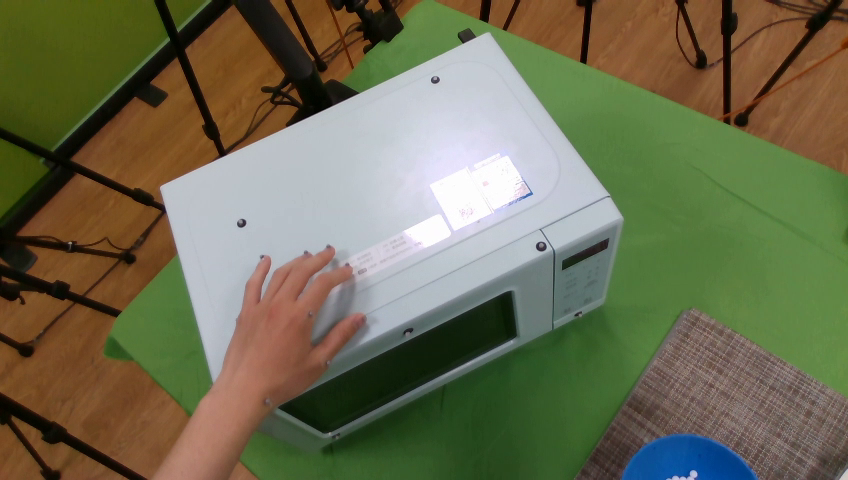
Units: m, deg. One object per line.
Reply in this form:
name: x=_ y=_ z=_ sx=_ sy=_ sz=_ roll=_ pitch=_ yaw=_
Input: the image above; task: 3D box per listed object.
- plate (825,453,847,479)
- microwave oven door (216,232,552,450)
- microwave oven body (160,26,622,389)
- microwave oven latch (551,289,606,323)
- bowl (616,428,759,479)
plate: x=0.518 y=0.313 z=0.625 sx=0.207 sy=0.039 sz=0.206 roll=-4 pitch=63 yaw=9
microwave oven door: x=-0.019 y=0.127 z=0.690 sx=0.356 sy=0.246 sz=0.039 roll=-26 pitch=61 yaw=-3
microwave oven body: x=-0.039 y=-0.002 z=0.766 sx=0.442 sy=0.262 sz=0.322 roll=-27 pitch=62 yaw=-2
microwave oven latch: x=0.197 y=0.077 z=0.790 sx=0.079 sy=0.030 sz=0.030 roll=-25 pitch=62 yaw=-1
bowl: x=0.281 y=0.288 z=0.660 sx=0.151 sy=0.077 sz=0.150 roll=-4 pitch=62 yaw=9
